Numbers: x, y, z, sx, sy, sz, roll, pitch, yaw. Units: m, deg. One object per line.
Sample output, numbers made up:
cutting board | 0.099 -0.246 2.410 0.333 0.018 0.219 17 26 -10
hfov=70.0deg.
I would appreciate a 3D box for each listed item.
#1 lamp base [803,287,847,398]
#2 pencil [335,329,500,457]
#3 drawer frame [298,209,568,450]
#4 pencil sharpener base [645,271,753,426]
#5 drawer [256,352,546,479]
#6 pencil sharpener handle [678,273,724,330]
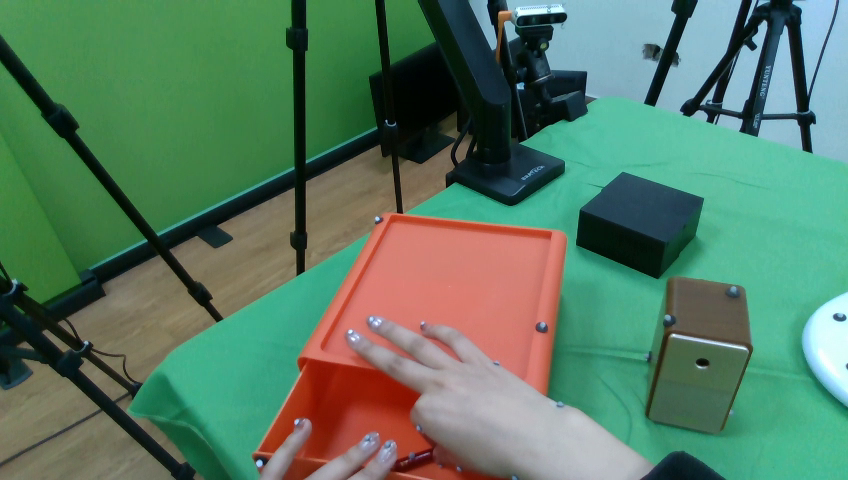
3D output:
lamp base | 0.417 0.034 0.488 0.160 0.182 0.178 6 37 14
pencil | -0.015 0.130 0.475 0.194 0.012 0.012 -37 44 -7
drawer frame | 0.022 0.068 0.564 0.201 0.083 0.212 6 38 14
pencil sharpener base | 0.222 0.088 0.497 0.061 0.108 0.076 8 39 17
drawer | 0.001 0.121 0.500 0.194 0.074 0.210 5 38 14
pencil sharpener handle | 0.236 0.048 0.528 0.036 0.068 0.030 13 40 13
